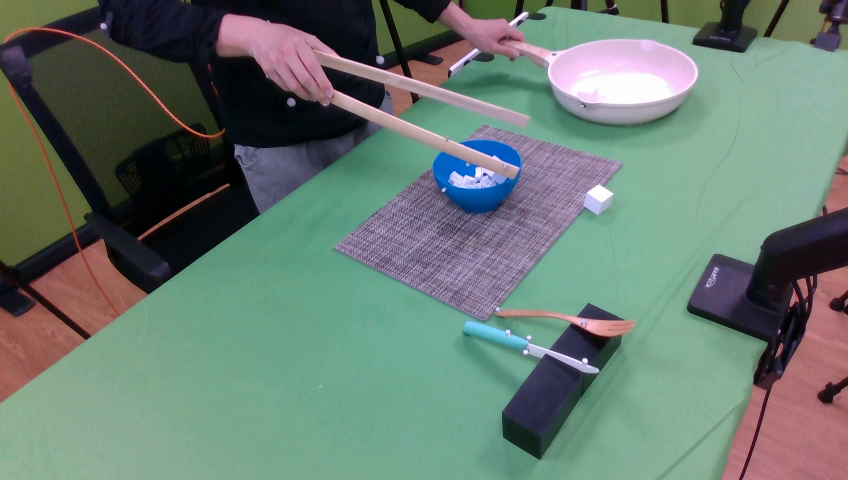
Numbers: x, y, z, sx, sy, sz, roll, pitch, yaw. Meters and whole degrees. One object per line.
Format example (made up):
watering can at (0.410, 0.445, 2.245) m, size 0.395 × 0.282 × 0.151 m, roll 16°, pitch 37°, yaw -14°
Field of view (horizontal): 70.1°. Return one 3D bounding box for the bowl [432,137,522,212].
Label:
bowl at (0.091, -0.100, 1.022) m, size 0.151 × 0.077 × 0.150 m, roll -4°, pitch 41°, yaw 4°

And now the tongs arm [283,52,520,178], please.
tongs arm at (-0.035, -0.185, 0.899) m, size 0.385 × 0.026 × 0.050 m, roll 21°, pitch 56°, yaw -2°

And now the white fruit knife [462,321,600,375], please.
white fruit knife at (0.126, 0.132, 0.752) m, size 0.205 × 0.027 × 0.016 m, roll 12°, pitch 47°, yaw 42°

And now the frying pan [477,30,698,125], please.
frying pan at (0.321, -0.371, 1.290) m, size 0.484 × 0.103 × 0.308 m, roll 29°, pitch 51°, yaw 24°

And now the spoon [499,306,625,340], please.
spoon at (0.169, 0.102, 0.773) m, size 0.042 × 0.021 × 0.192 m, roll -10°, pitch 13°, yaw -38°

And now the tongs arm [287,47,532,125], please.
tongs arm at (-0.018, -0.237, 0.938) m, size 0.389 × 0.028 × 0.028 m, roll 14°, pitch 60°, yaw -7°
